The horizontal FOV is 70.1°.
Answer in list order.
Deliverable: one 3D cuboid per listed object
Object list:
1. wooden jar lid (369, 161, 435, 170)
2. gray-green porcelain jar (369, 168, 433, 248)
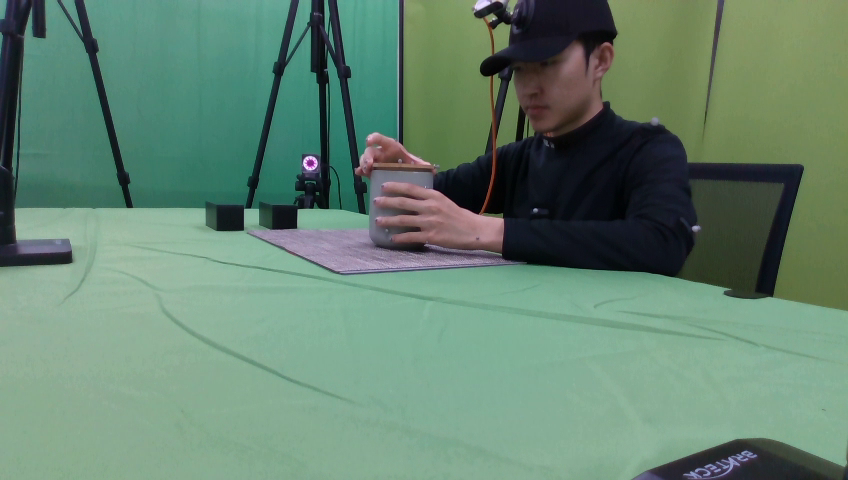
[{"bbox_3d":[-0.036,-0.117,0.992,0.108,0.020,0.108,2,4,0],"label":"wooden jar lid"},{"bbox_3d":[-0.038,-0.054,1.001,0.106,0.126,0.106,1,7,0],"label":"gray-green porcelain jar"}]
